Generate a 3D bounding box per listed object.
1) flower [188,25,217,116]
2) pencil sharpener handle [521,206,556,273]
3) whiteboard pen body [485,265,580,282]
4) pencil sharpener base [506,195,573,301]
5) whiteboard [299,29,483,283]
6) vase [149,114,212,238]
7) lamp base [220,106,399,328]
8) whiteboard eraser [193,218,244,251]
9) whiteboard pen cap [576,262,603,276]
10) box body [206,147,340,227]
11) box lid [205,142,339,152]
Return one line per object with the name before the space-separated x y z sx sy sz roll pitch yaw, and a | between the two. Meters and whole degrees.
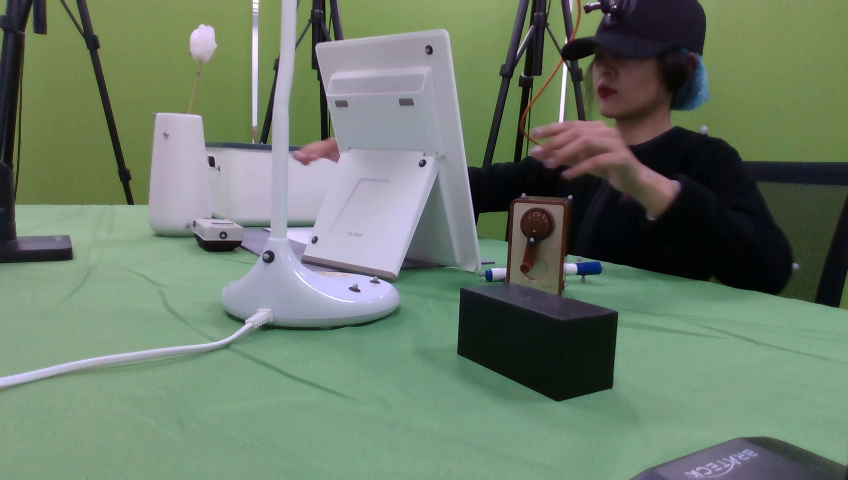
flower | -0.394 -0.189 1.012 0.044 0.361 0.038 -1 -13 28
pencil sharpener handle | 0.111 0.000 0.613 0.036 0.067 0.031 13 10 14
whiteboard pen body | 0.144 0.040 0.738 0.141 0.017 0.017 -2 8 -10
pencil sharpener base | 0.127 0.007 0.663 0.061 0.107 0.077 5 8 15
whiteboard | -0.074 -0.082 0.742 0.216 0.305 0.144 9 29 38
vase | -0.405 -0.106 1.005 0.098 0.200 0.098 2 6 0
lamp base | -0.102 -0.023 0.531 0.160 0.180 0.179 4 10 10
whiteboard eraser | -0.307 -0.009 0.900 0.056 0.042 0.112 -3 10 -29
whiteboard pen cap | 0.203 0.036 0.749 0.033 0.018 0.018 -2 8 -7
box body | -0.276 -0.122 1.320 0.366 0.160 0.253 -2 9 -30
box lid | -0.270 -0.196 1.310 0.373 0.015 0.262 -2 9 -30
